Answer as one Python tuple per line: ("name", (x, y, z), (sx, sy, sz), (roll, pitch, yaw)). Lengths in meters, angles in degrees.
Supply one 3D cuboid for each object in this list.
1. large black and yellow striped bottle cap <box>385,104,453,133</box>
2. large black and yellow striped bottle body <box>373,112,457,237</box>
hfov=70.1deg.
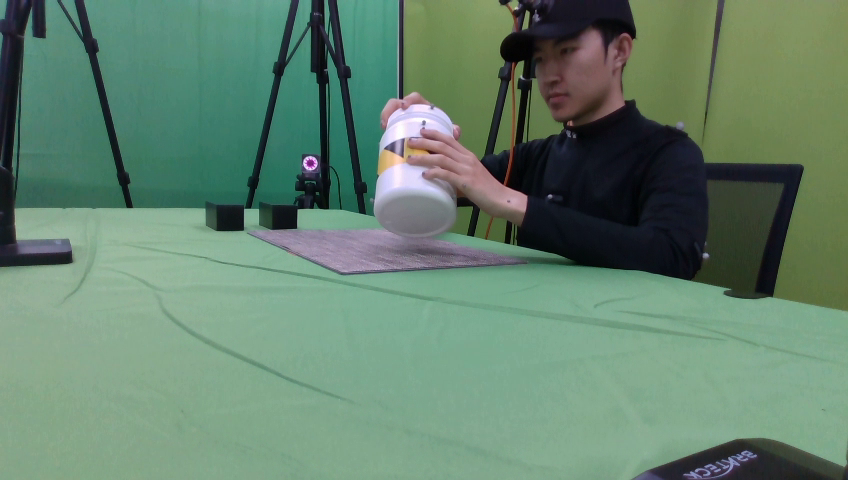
("large black and yellow striped bottle cap", (-0.008, -0.184, 1.019), (0.115, 0.019, 0.115), (0, -31, 1))
("large black and yellow striped bottle body", (-0.011, -0.113, 0.973), (0.131, 0.183, 0.131), (1, -33, 1))
